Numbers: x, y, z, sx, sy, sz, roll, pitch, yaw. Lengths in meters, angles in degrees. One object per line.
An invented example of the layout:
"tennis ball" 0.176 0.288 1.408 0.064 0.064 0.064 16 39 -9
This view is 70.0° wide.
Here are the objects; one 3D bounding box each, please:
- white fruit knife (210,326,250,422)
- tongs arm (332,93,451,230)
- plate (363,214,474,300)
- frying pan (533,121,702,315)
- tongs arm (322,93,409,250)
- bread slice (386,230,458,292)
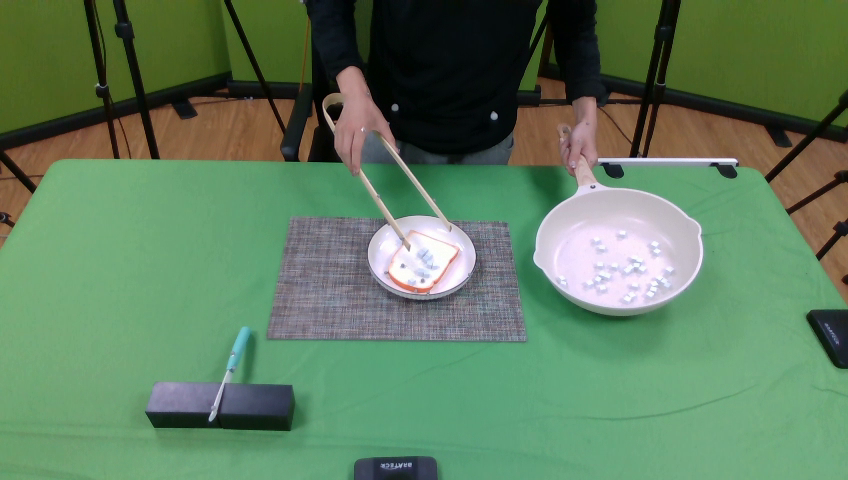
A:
"white fruit knife" -0.301 0.201 0.942 0.016 0.027 0.206 1 32 -1
"tongs arm" -0.066 -0.159 1.158 0.028 0.028 0.385 -33 65 -13
"plate" -0.010 0.036 1.146 0.208 0.039 0.206 3 46 -2
"frying pan" 0.342 -0.061 1.192 0.307 0.103 0.484 -11 56 2
"tongs arm" -0.108 -0.138 1.144 0.051 0.026 0.382 -28 64 -15
"bread slice" -0.007 0.043 1.142 0.107 0.018 0.134 18 46 14
